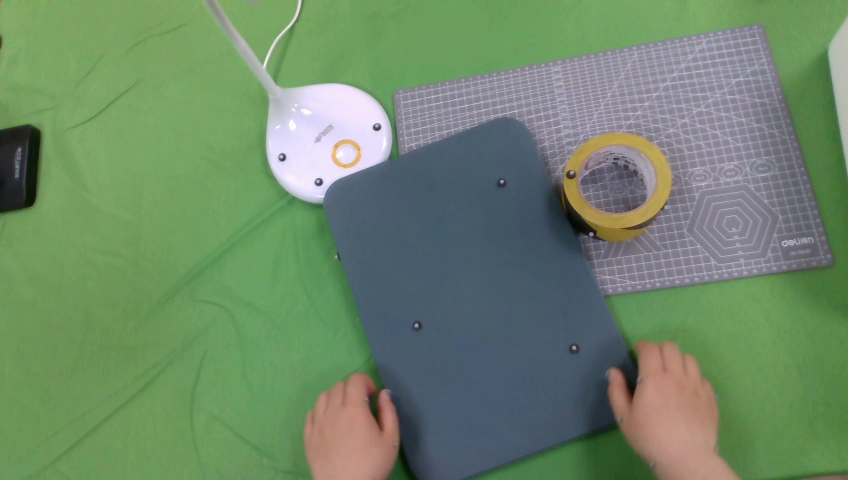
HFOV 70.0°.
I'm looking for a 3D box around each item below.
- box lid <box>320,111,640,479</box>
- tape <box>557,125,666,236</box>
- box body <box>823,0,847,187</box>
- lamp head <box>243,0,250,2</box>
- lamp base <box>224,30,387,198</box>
[{"bbox_3d":[0.051,0.048,0.681,0.263,0.015,0.369,-22,75,1],"label":"box lid"},{"bbox_3d":[0.205,-0.066,0.669,0.117,0.053,0.116,-2,74,8],"label":"tape"},{"bbox_3d":[0.554,-0.101,0.563,0.254,0.161,0.362,-2,75,9],"label":"box body"},{"bbox_3d":[-0.147,-0.237,0.401,0.123,0.112,0.112,23,78,-19],"label":"lamp head"},{"bbox_3d":[-0.148,-0.154,0.688,0.178,0.181,0.160,30,82,19],"label":"lamp base"}]
